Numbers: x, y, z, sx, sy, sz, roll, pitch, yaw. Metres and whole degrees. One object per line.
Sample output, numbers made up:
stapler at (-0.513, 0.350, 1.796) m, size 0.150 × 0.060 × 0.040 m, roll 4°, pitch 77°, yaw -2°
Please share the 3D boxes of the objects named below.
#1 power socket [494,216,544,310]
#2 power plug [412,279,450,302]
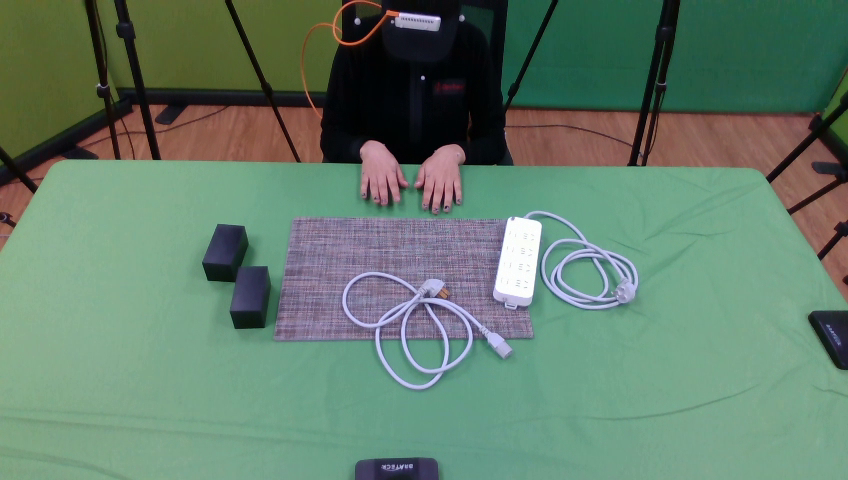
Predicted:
power socket at (0.184, 0.037, 1.161) m, size 0.072 × 0.033 × 0.225 m, roll 12°, pitch 46°, yaw 7°
power plug at (0.013, 0.101, 1.092) m, size 0.052 × 0.035 × 0.072 m, roll 39°, pitch 66°, yaw -1°
